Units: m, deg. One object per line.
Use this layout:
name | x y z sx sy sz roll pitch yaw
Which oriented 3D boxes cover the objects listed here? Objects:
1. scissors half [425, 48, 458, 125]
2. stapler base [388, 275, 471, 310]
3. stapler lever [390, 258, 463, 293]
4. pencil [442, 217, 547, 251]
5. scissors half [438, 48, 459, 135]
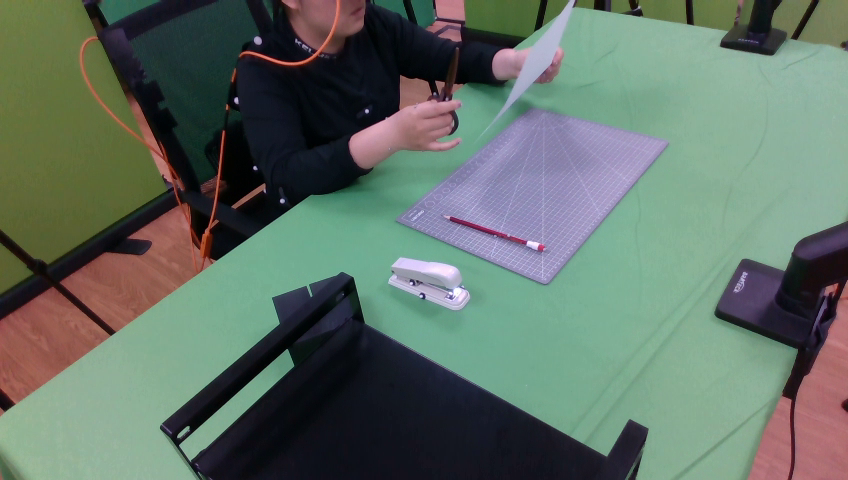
scissors half | 0.031 -0.250 0.988 0.013 0.175 0.040 -36 78 -28
stapler base | 0.007 0.066 0.897 0.129 0.024 0.041 17 43 29
stapler lever | 0.003 0.046 0.881 0.117 0.040 0.027 17 43 29
pencil | 0.110 -0.012 0.979 0.192 0.012 0.012 18 46 30
scissors half | 0.045 -0.236 0.982 0.040 0.175 0.013 35 58 22
